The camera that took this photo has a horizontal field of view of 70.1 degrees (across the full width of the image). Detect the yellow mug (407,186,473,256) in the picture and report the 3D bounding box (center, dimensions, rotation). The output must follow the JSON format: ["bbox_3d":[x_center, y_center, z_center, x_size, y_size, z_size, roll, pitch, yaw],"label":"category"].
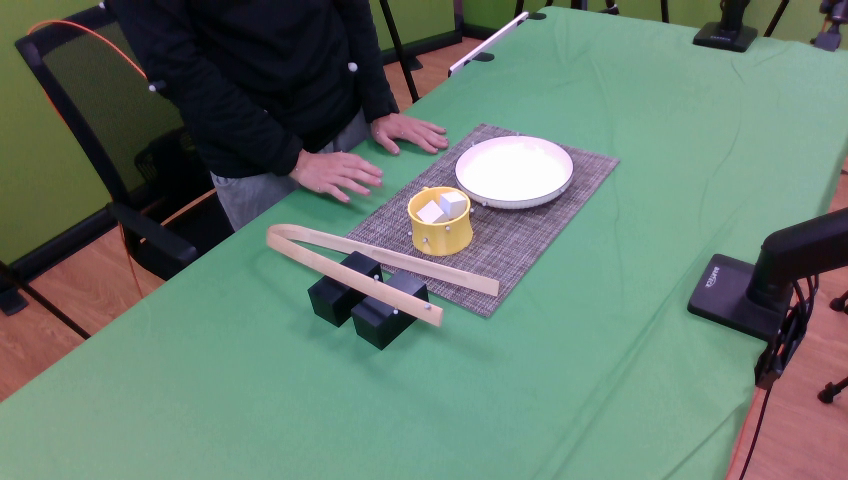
[{"bbox_3d":[0.021,-0.040,0.973,0.100,0.064,0.129,-19,41,-12],"label":"yellow mug"}]

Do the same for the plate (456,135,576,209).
[{"bbox_3d":[0.161,-0.116,1.064,0.207,0.039,0.206,-4,40,4],"label":"plate"}]

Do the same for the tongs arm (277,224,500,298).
[{"bbox_3d":[-0.065,0.028,0.932,0.385,0.028,0.028,14,23,22],"label":"tongs arm"}]

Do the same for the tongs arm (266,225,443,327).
[{"bbox_3d":[-0.112,0.042,0.866,0.381,0.026,0.051,19,22,35],"label":"tongs arm"}]
